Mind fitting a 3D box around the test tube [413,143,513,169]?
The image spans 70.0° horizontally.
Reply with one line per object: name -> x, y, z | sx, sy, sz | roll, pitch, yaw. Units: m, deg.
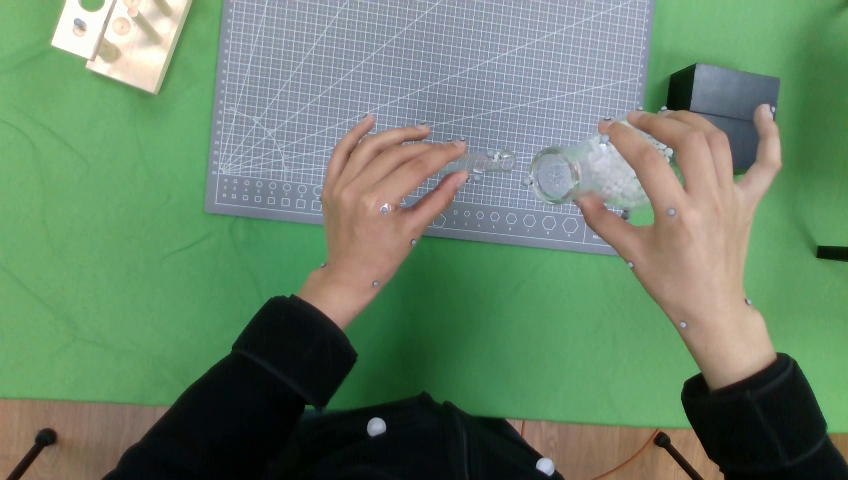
test tube -> 0.025, -0.066, 0.483 | 0.017, 0.149, 0.017 | -3, 97, -24

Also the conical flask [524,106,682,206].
conical flask -> 0.122, -0.054, 0.424 | 0.122, 0.075, 0.075 | -14, 95, -44

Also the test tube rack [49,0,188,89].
test tube rack -> -0.246, -0.270, 0.547 | 0.067, 0.085, 0.242 | 20, 90, -9
